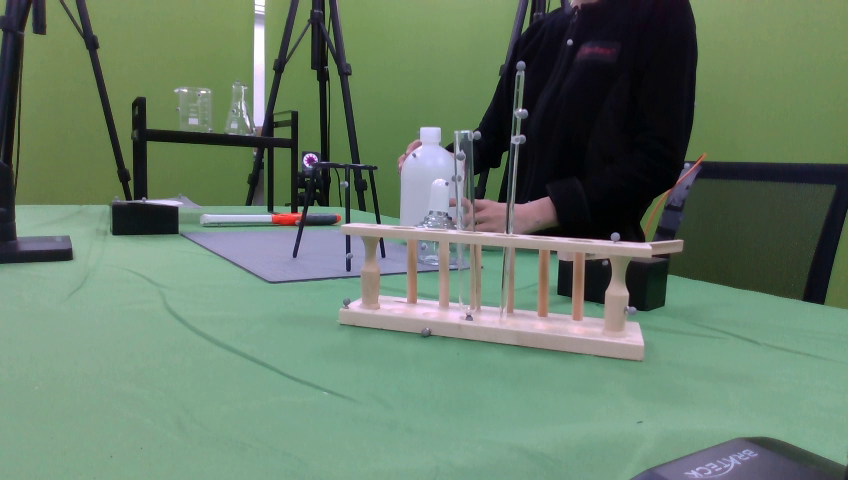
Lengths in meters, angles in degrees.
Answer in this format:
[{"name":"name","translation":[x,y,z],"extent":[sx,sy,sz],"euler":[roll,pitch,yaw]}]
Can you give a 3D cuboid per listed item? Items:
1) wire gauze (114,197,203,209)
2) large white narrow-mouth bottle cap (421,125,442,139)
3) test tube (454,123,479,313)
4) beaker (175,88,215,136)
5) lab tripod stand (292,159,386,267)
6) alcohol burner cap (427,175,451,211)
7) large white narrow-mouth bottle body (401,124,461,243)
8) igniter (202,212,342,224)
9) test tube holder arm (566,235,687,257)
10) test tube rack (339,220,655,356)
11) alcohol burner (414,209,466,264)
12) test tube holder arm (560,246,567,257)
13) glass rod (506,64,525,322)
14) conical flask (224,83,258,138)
[{"name":"wire gauze","translation":[-0.447,-0.062,1.015],"extent":[0.126,0.011,0.121],"euler":[-2,8,-31]},{"name":"large white narrow-mouth bottle cap","translation":[0.012,-0.180,1.013],"extent":[0.038,0.024,0.037],"euler":[1,9,0]},{"name":"test tube","translation":[0.034,-0.016,0.477],"extent":[0.017,0.150,0.017],"euler":[-2,9,1]},{"name":"beaker","translation":[-0.511,-0.285,1.353],"extent":[0.084,0.100,0.073],"euler":[-2,8,-25]},{"name":"lab tripod stand","translation":[-0.105,-0.039,0.798],"extent":[0.148,0.131,0.148],"euler":[2,5,0]},{"name":"alcohol burner cap","translation":[0.023,-0.064,0.822],"extent":[0.034,0.048,0.034],"euler":[7,5,0]},{"name":"large white narrow-mouth bottle body","translation":[0.012,-0.098,1.027],"extent":[0.102,0.194,0.101],"euler":[1,9,0]},{"name":"igniter","translation":[-0.298,-0.044,1.216],"extent":[0.278,0.025,0.057],"euler":[-2,-2,-32]},{"name":"test tube holder arm","translation":[0.215,0.006,0.630],"extent":[0.179,0.015,0.013],"euler":[-3,9,-31]},{"name":"test tube rack","translation":[0.056,0.032,0.495],"extent":[0.242,0.085,0.067],"euler":[4,7,15]},{"name":"alcohol burner","translation":[0.021,-0.028,0.826],"extent":[0.078,0.119,0.078],"euler":[0,6,0]},{"name":"test tube holder arm","translation":[0.173,0.007,0.611],"extent":[0.088,0.015,0.010],"euler":[-3,9,-30]},{"name":"glass rod","translation":[0.069,-0.030,0.458],"extent":[0.008,0.199,0.008],"euler":[0,15,0]},{"name":"conical flask","translation":[-0.422,-0.299,1.395],"extent":[0.075,0.122,0.075],"euler":[2,7,0]}]
